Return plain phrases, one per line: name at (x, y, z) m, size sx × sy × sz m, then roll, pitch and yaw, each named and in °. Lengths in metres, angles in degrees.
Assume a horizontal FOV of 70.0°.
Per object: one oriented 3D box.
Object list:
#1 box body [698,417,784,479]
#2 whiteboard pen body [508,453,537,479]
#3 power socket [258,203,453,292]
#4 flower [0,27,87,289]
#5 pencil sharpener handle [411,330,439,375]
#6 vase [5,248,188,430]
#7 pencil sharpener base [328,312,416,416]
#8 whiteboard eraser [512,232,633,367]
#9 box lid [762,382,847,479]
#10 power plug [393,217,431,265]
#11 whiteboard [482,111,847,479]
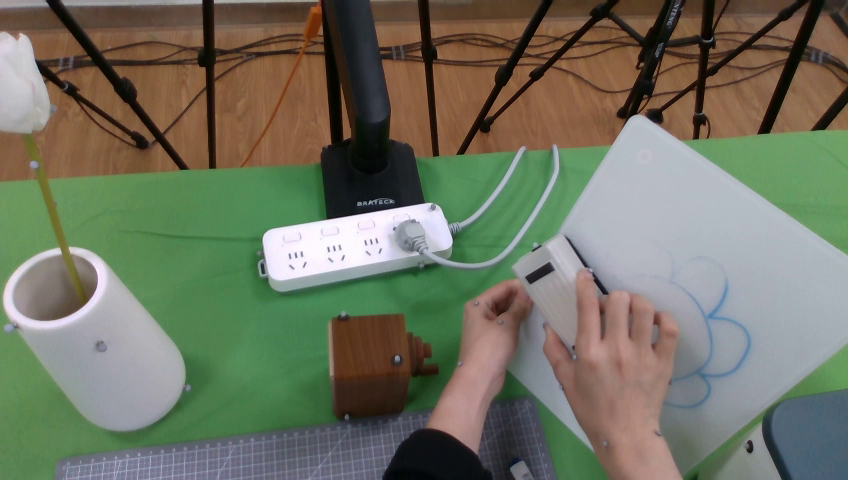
box body at (0.410, 0.307, 0.465) m, size 0.255 × 0.161 × 0.360 m, roll -6°, pitch 57°, yaw -10°
whiteboard pen body at (0.117, 0.257, 0.545) m, size 0.017 × 0.017 × 0.139 m, roll -21°, pitch 59°, yaw -19°
power socket at (-0.074, 0.006, 0.690) m, size 0.227 × 0.033 × 0.071 m, roll -10°, pitch 58°, yaw -14°
flower at (-0.258, 0.026, 0.454) m, size 0.038 × 0.364 × 0.043 m, roll -15°, pitch 40°, yaw -24°
pencil sharpener handle at (0.002, 0.109, 0.570) m, size 0.031 × 0.068 × 0.035 m, roll -3°, pitch 56°, yaw -9°
vase at (-0.269, 0.088, 0.510) m, size 0.098 × 0.201 × 0.097 m, roll 2°, pitch 55°, yaw -3°
pencil sharpener base at (-0.050, 0.118, 0.572) m, size 0.077 × 0.108 × 0.061 m, roll -3°, pitch 56°, yaw -9°
whiteboard eraser at (0.130, 0.051, 0.532) m, size 0.042 × 0.055 × 0.112 m, roll -26°, pitch 81°, yaw -51°
box lid at (0.417, 0.262, 0.405) m, size 0.264 × 0.015 × 0.367 m, roll -5°, pitch 56°, yaw -11°
power plug at (-0.015, 0.008, 0.668) m, size 0.035 × 0.053 × 0.072 m, roll -2°, pitch 58°, yaw -7°
whiteboard at (0.230, 0.055, 0.565) m, size 0.215 × 0.307 × 0.144 m, roll 43°, pitch 42°, yaw 21°
